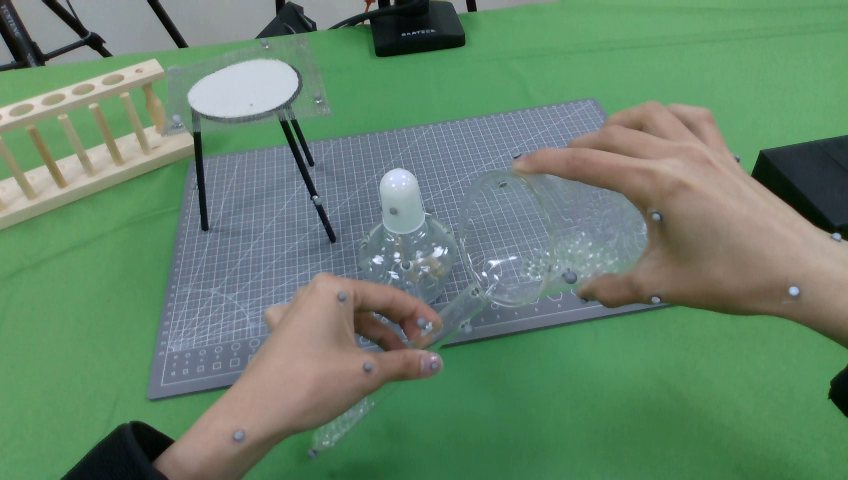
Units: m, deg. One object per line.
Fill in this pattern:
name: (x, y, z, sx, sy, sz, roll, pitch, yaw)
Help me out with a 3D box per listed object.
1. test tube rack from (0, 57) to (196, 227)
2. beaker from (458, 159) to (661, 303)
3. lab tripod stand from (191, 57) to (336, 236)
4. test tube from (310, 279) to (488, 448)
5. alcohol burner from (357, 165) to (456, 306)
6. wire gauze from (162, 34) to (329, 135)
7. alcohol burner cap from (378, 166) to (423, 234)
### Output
test tube rack: (-0.365, -0.095, 0.607, 0.242, 0.086, 0.066, -27, 48, -21)
beaker: (0.080, -0.007, 0.349, 0.101, 0.084, 0.073, -10, 45, -34)
lab tripod stand: (-0.141, -0.078, 0.531, 0.148, 0.133, 0.147, -3, 47, 3)
test tube: (-0.019, 0.078, 0.367, 0.150, 0.017, 0.017, -45, 46, 15)
alcohol burner: (-0.015, -0.006, 0.462, 0.078, 0.120, 0.077, -2, 43, 3)
wire gauze: (-0.146, -0.125, 0.484, 0.125, 0.011, 0.120, -14, 45, -8)
alcohol burner cap: (-0.019, -0.032, 0.437, 0.034, 0.048, 0.033, -3, 47, 4)
